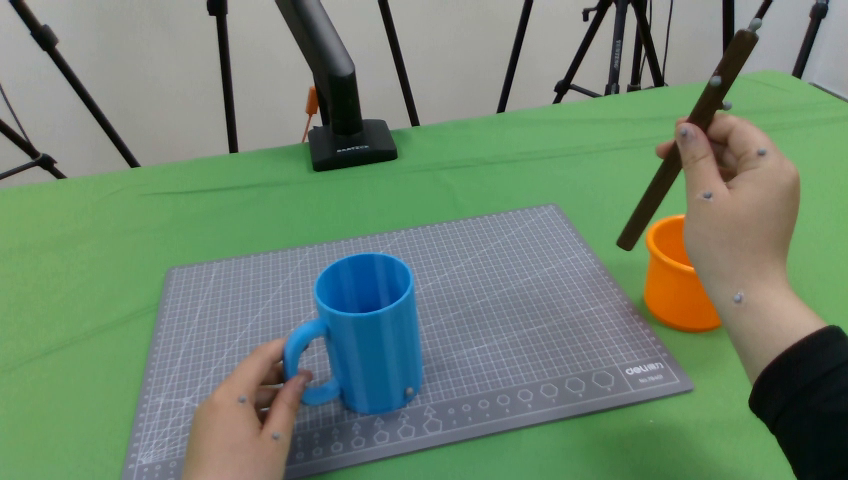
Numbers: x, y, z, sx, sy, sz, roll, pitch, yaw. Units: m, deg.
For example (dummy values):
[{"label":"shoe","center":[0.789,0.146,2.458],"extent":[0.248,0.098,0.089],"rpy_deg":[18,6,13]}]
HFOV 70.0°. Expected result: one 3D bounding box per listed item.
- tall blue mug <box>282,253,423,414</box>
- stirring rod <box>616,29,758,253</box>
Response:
[{"label":"tall blue mug","center":[-0.049,0.084,0.474],"extent":[0.077,0.109,0.107],"rpy_deg":[13,39,22]},{"label":"stirring rod","center":[0.171,-0.057,0.409],"extent":[0.014,0.177,0.006],"rpy_deg":[28,43,15]}]
